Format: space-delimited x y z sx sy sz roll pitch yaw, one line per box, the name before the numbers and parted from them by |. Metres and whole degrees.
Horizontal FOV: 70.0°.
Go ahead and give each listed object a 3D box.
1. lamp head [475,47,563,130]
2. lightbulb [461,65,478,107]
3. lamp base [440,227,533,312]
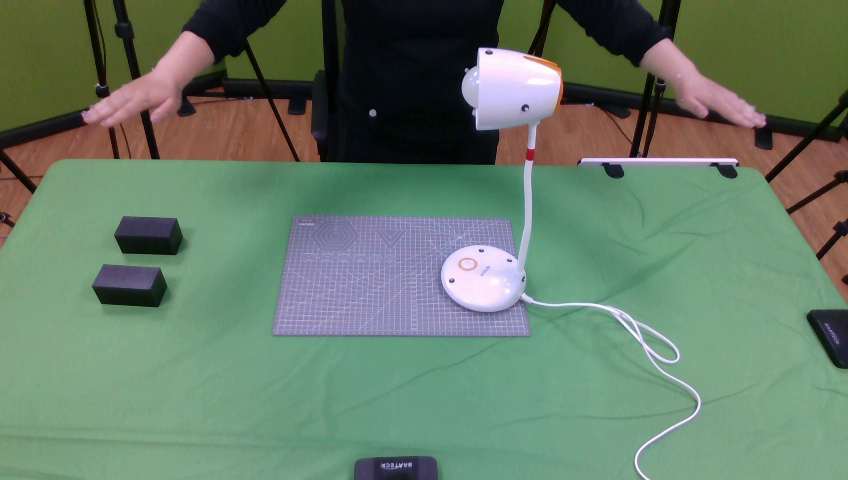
lamp head | 0.129 -0.206 0.840 0.123 0.113 0.111 5 45 -1
lightbulb | 0.106 -0.214 0.850 0.108 0.060 0.059 4 45 -3
lamp base | 0.126 0.021 1.073 0.179 0.181 0.160 22 49 13
